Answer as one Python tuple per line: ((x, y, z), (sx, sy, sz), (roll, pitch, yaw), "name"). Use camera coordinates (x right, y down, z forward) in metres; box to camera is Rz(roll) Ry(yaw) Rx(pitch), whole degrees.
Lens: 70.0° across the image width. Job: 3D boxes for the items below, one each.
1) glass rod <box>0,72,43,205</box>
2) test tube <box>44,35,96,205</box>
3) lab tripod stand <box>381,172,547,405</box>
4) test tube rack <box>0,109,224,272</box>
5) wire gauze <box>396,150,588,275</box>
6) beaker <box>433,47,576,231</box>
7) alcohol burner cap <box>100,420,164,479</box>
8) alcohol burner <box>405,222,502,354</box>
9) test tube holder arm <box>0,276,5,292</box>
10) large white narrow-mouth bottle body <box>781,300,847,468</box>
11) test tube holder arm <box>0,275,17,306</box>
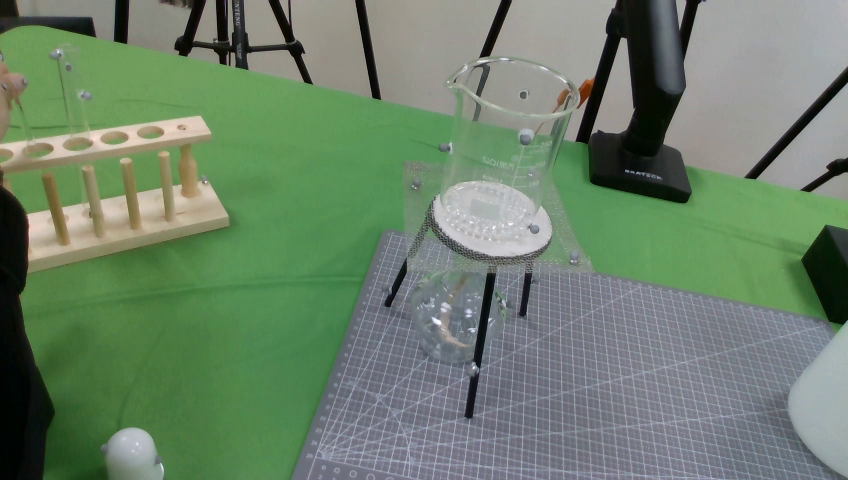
((-0.324, -0.100, 0.474), (0.008, 0.201, 0.008), (2, 36, -1), "glass rod")
((-0.291, -0.093, 0.502), (0.017, 0.151, 0.017), (8, 35, -5), "test tube")
((0.036, 0.029, 0.465), (0.149, 0.132, 0.147), (7, 41, -6), "lab tripod stand")
((-0.304, -0.041, 0.514), (0.243, 0.086, 0.066), (-17, 47, -29), "test tube rack")
((0.041, -0.023, 0.425), (0.122, 0.011, 0.123), (2, 44, -8), "wire gauze")
((0.044, -0.063, 0.396), (0.084, 0.101, 0.073), (7, 42, -4), "beaker")
((-0.181, 0.131, 0.372), (0.034, 0.048, 0.033), (7, 40, -5), "alcohol burner cap")
((0.026, 0.033, 0.473), (0.078, 0.120, 0.077), (8, 39, -6), "alcohol burner")
((-0.307, 0.081, 0.346), (0.013, 0.015, 0.177), (12, 39, 5), "test tube holder arm")
((0.348, 0.076, 0.430), (0.102, 0.196, 0.101), (5, 40, -4), "large white narrow-mouth bottle body")
((-0.292, 0.055, 0.381), (0.010, 0.015, 0.087), (12, 39, 5), "test tube holder arm")
